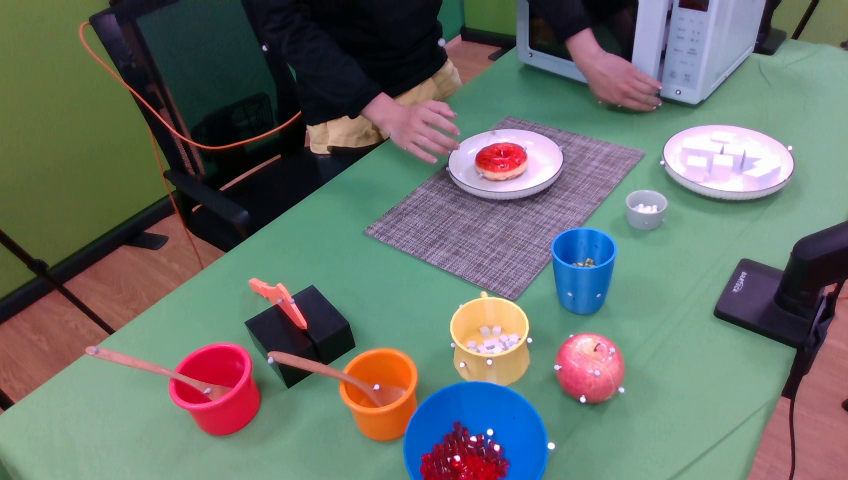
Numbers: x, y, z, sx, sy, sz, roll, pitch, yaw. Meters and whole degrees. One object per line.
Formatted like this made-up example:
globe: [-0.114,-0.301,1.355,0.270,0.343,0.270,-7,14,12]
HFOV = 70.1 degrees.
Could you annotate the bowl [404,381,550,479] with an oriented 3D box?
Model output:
bowl: [0.058,0.235,0.645,0.151,0.077,0.150,-4,39,4]

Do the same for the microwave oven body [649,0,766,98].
microwave oven body: [0.472,-0.513,1.317,0.438,0.261,0.327,26,51,34]

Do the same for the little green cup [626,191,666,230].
little green cup: [0.352,-0.046,0.963,0.061,0.039,0.061,-4,40,4]

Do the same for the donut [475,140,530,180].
donut: [0.141,-0.146,1.089,0.099,0.048,0.098,-6,38,5]

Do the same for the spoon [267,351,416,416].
spoon: [-0.091,0.162,0.699,0.021,0.195,0.041,-45,30,27]

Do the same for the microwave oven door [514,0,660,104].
microwave oven door: [0.328,-0.443,1.249,0.039,0.245,0.352,-34,47,-27]

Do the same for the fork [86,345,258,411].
fork: [-0.299,0.167,0.728,0.209,0.018,0.028,28,47,-23]

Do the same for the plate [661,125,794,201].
plate: [0.513,-0.128,1.035,0.207,0.039,0.206,-4,40,4]

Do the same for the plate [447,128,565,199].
plate: [0.147,-0.134,1.092,0.209,0.038,0.208,-4,40,4]

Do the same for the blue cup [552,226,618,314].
blue cup: [0.218,0.047,0.826,0.092,0.101,0.092,-6,40,5]

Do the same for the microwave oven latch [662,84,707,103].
microwave oven latch: [0.517,-0.296,1.204,0.078,0.029,0.030,27,52,35]

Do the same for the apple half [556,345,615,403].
apple half: [0.181,0.167,0.709,0.080,0.081,0.033,29,50,35]

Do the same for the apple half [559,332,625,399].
apple half: [0.209,0.147,0.730,0.080,0.075,0.053,26,48,38]

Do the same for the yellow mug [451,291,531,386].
yellow mug: [0.085,0.120,0.786,0.100,0.064,0.130,-7,39,1]

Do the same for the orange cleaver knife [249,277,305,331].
orange cleaver knife: [-0.210,0.088,0.855,0.012,0.077,0.210,-28,15,-25]
